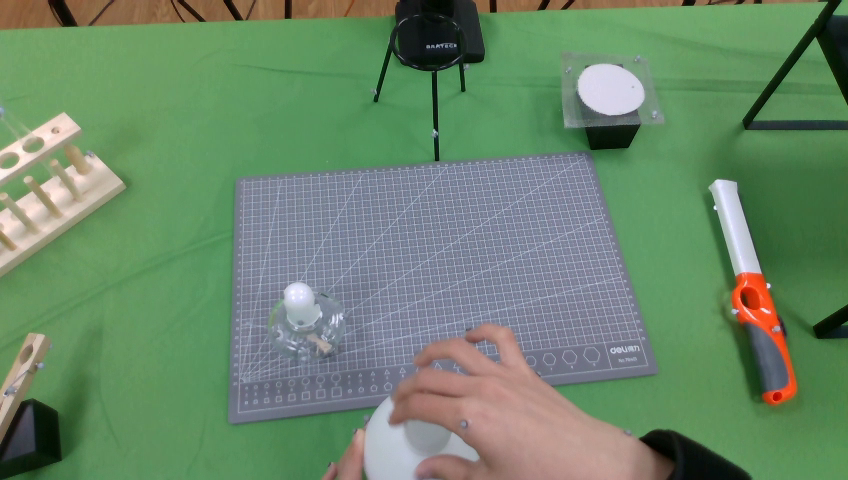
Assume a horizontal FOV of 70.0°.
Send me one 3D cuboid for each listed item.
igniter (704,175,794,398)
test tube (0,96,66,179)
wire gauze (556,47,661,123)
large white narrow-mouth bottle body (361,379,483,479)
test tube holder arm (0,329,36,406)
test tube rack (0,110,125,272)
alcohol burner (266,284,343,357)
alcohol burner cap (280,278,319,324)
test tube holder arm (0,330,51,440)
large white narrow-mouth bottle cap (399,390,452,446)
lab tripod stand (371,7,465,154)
[{"bbox_3d":[0.369,0.044,0.695,0.057,0.025,0.274,5,61,-12],"label":"igniter"},{"bbox_3d":[-0.429,-0.113,0.649,0.017,0.151,0.017,0,60,1],"label":"test tube"},{"bbox_3d":[0.232,-0.198,0.773,0.121,0.011,0.124,2,61,-2],"label":"wire gauze"},{"bbox_3d":[-0.003,0.174,0.513,0.102,0.196,0.101,1,61,-2],"label":"large white narrow-mouth bottle body"},{"bbox_3d":[-0.382,0.126,0.565,0.010,0.015,0.087,5,62,6],"label":"test tube holder arm"},{"bbox_3d":[-0.464,-0.030,0.660,0.066,0.086,0.242,40,67,17],"label":"test tube rack"},{"bbox_3d":[-0.120,0.073,0.603,0.078,0.120,0.077,2,60,-3],"label":"alcohol burner"},{"bbox_3d":[-0.119,0.056,0.571,0.034,0.048,0.033,0,57,0],"label":"alcohol burner cap"},{"bbox_3d":[-0.383,0.166,0.544,0.013,0.015,0.177,7,62,6],"label":"test tube holder arm"},{"bbox_3d":[0.001,0.127,0.431,0.038,0.024,0.037,1,61,-2],"label":"large white narrow-mouth bottle cap"},{"bbox_3d":[0.002,-0.202,0.748,0.148,0.132,0.147,2,62,-4],"label":"lab tripod stand"}]
